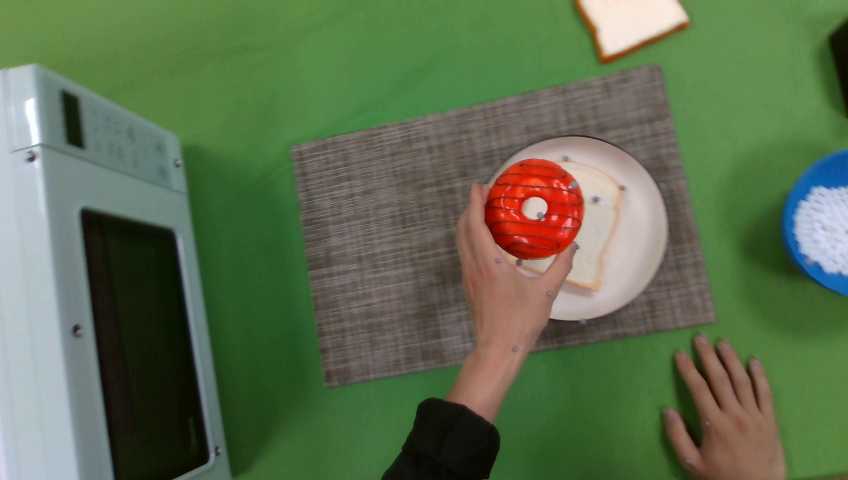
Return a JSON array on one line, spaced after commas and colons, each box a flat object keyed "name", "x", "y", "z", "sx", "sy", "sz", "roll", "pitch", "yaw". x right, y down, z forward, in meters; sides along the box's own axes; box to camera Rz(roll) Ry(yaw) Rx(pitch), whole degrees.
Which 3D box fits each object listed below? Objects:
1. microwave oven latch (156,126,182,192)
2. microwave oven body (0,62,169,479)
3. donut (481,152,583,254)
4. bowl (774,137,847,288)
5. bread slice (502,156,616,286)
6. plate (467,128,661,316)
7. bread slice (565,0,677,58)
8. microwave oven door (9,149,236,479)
[{"name": "microwave oven latch", "x": -0.321, "y": -0.097, "z": 0.744, "sx": 0.030, "sy": 0.029, "sz": 0.079, "roll": -14, "pitch": 84, "yaw": 7}, {"name": "microwave oven body", "x": -0.443, "y": 0.098, "z": 0.647, "sx": 0.326, "sy": 0.261, "sz": 0.440, "roll": -13, "pitch": 84, "yaw": 7}, {"name": "donut", "x": 0.103, "y": -0.035, "z": 0.584, "sx": 0.099, "sy": 0.048, "sz": 0.099, "roll": 0, "pitch": 89, "yaw": 15}, {"name": "bowl", "x": 0.427, "y": -0.023, "z": 0.617, "sx": 0.151, "sy": 0.077, "sz": 0.151, "roll": -1, "pitch": 84, "yaw": 9}, {"name": "bread slice", "x": 0.154, "y": -0.026, "z": 0.677, "sx": 0.107, "sy": 0.018, "sz": 0.134, "roll": 14, "pitch": 87, "yaw": 9}, {"name": "plate", "x": 0.153, "y": -0.019, "z": 0.677, "sx": 0.207, "sy": 0.039, "sz": 0.207, "roll": -1, "pitch": 85, "yaw": 9}, {"name": "bread slice", "x": 0.217, "y": -0.291, "z": 0.705, "sx": 0.105, "sy": 0.019, "sz": 0.131, "roll": -25, "pitch": 83, "yaw": 5}, {"name": "microwave oven door", "x": -0.294, "y": 0.105, "z": 0.619, "sx": 0.039, "sy": 0.244, "sz": 0.354, "roll": -14, "pitch": 83, "yaw": 8}]
